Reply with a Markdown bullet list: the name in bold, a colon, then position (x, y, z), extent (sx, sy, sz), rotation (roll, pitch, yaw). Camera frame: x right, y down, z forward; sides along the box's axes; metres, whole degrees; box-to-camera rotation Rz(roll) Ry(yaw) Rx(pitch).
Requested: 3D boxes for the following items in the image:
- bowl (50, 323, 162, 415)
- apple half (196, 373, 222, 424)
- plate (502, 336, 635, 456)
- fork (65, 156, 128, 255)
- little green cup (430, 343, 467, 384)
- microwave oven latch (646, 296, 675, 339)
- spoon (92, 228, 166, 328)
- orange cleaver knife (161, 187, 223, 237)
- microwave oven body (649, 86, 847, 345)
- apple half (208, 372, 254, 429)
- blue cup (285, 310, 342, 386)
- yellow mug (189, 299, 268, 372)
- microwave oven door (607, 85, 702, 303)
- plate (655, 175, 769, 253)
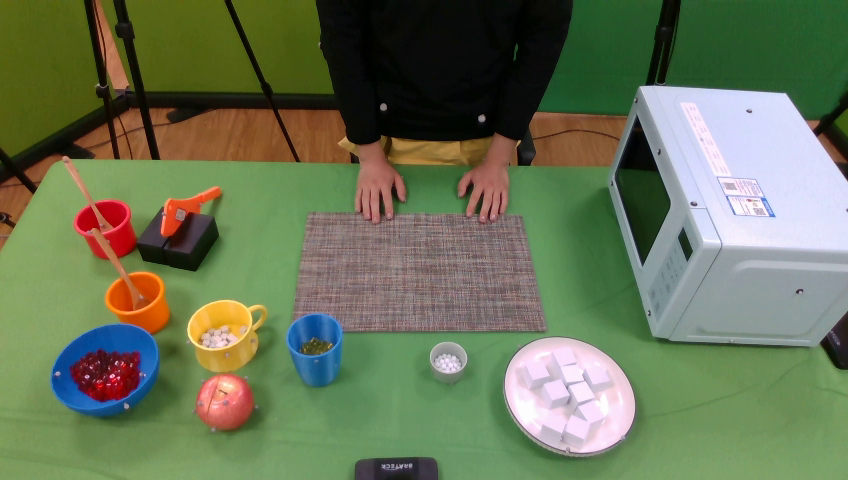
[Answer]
- **bowl**: position (-0.472, 0.209, 0.924), extent (0.151, 0.077, 0.150), rotation (3, 45, -2)
- **apple half**: position (-0.322, 0.239, 0.907), extent (0.033, 0.081, 0.081), rotation (7, 46, -1)
- **plate**: position (0.225, 0.248, 0.963), extent (0.208, 0.039, 0.206), rotation (2, 46, -2)
- **fork**: position (-0.614, -0.064, 1.130), extent (0.028, 0.018, 0.207), rotation (-30, 96, -18)
- **little green cup**: position (0.039, 0.203, 0.994), extent (0.061, 0.039, 0.061), rotation (2, 46, -2)
- **microwave oven latch**: position (0.412, 0.134, 1.061), extent (0.030, 0.029, 0.078), rotation (4, 45, 1)
- **spoon**: position (-0.495, 0.063, 1.014), extent (0.041, 0.194, 0.021), rotation (-34, 12, -31)
- **orange cleaver knife**: position (-0.448, -0.058, 1.180), extent (0.012, 0.077, 0.211), rotation (13, 17, 6)
- **microwave oven body**: position (0.568, -0.053, 1.118), extent (0.326, 0.261, 0.439), rotation (2, 45, -1)
- **apple half**: position (-0.283, 0.244, 0.908), extent (0.053, 0.075, 0.080), rotation (7, 42, -1)
- **blue cup**: position (-0.170, 0.179, 0.958), extent (0.093, 0.101, 0.092), rotation (1, 44, -1)
- **yellow mug**: position (-0.316, 0.149, 1.002), extent (0.131, 0.064, 0.099), rotation (-32, 56, -32)
- **microwave oven door**: position (0.423, -0.094, 1.140), extent (0.039, 0.245, 0.353), rotation (2, 46, -1)
- **plate**: position (0.555, -0.046, 1.183), extent (0.209, 0.038, 0.208), rotation (2, 46, -1)
